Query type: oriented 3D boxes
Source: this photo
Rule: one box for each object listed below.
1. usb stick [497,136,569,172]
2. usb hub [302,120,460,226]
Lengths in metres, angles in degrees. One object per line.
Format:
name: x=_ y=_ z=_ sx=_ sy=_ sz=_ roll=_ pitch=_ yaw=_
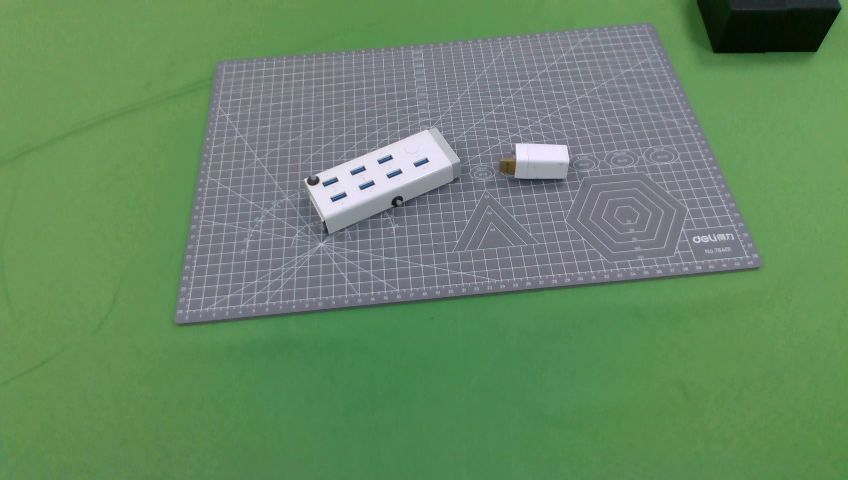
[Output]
usb stick: x=0.091 y=-0.073 z=0.514 sx=0.059 sy=0.022 sz=0.027 roll=-1 pitch=46 yaw=0
usb hub: x=-0.035 y=-0.059 z=0.511 sx=0.125 sy=0.025 sz=0.049 roll=-24 pitch=58 yaw=-13
